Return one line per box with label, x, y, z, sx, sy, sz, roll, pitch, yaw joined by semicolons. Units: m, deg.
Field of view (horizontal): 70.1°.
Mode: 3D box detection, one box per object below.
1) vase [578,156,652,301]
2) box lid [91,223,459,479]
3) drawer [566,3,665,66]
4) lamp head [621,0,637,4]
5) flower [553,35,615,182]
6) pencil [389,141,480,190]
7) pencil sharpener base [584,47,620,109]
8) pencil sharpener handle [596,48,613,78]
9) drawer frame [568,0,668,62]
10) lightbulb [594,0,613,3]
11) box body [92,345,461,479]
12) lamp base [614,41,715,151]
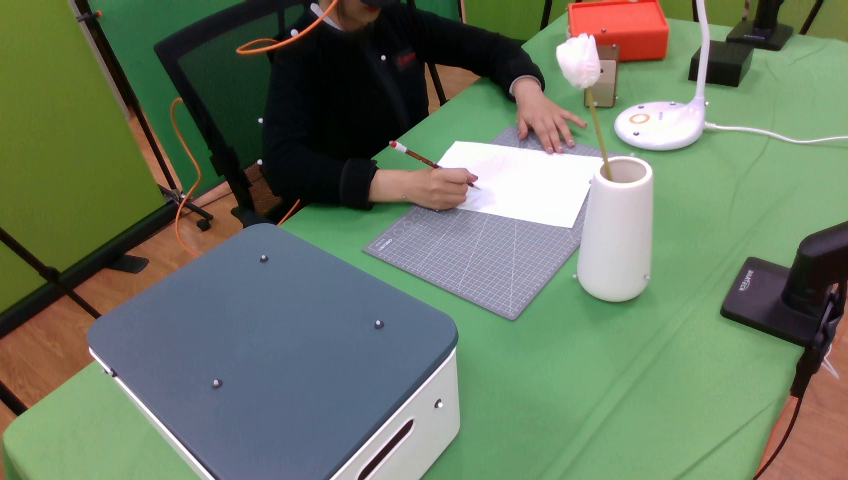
vase;0.261;-0.011;0.812;0.098;0.201;0.097;-4;40;4
box lid;-0.174;0.103;0.667;0.368;0.015;0.264;24;48;35
drawer;0.447;-0.493;1.440;0.211;0.073;0.194;0;40;10
lamp head;0.319;-0.453;0.962;0.113;0.123;0.112;20;33;-13
flower;0.237;-0.083;0.774;0.044;0.363;0.038;-22;26;7
pencil;0.023;-0.123;1.024;0.196;0.012;0.012;24;28;-30
pencil sharpener base;0.367;-0.336;1.248;0.061;0.107;0.076;6;42;19
pencil sharpener handle;0.382;-0.378;1.276;0.036;0.068;0.030;3;41;21
drawer frame;0.450;-0.495;1.441;0.213;0.083;0.201;-1;40;9
lightbulb;0.305;-0.437;0.978;0.060;0.107;0.059;13;43;-11
box body;-0.162;0.170;0.708;0.361;0.161;0.255;25;50;34
lamp base;0.449;-0.277;1.106;0.179;0.181;0.160;1;41;9
